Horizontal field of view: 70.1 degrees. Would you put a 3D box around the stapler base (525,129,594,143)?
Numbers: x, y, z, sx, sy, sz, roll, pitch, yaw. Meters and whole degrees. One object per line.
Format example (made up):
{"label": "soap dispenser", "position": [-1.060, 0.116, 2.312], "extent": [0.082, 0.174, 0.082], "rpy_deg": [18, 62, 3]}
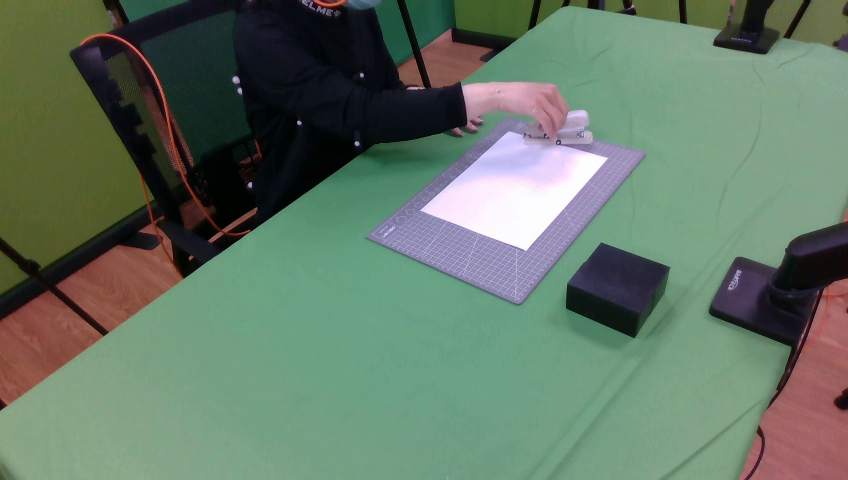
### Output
{"label": "stapler base", "position": [0.260, -0.207, 1.167], "extent": [0.130, 0.024, 0.041], "rpy_deg": [0, 39, 12]}

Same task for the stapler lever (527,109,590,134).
{"label": "stapler lever", "position": [0.255, -0.226, 1.151], "extent": [0.118, 0.040, 0.027], "rpy_deg": [0, 39, 12]}
